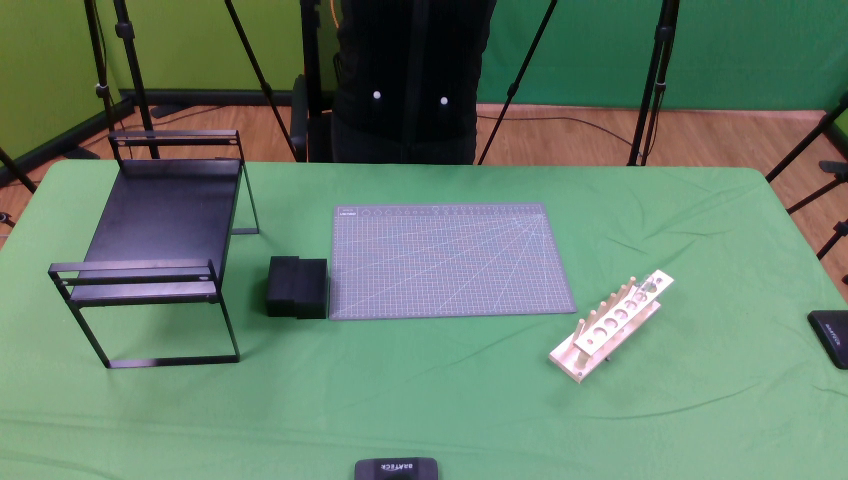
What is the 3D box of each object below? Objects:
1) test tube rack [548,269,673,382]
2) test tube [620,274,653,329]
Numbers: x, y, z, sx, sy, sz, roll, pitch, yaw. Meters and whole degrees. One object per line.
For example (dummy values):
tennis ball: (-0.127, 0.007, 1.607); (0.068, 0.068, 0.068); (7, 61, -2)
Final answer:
test tube rack: (0.325, 0.134, 1.047); (0.242, 0.085, 0.066); (-32, 56, -30)
test tube: (0.349, 0.105, 1.008); (0.017, 0.151, 0.017); (2, 51, -2)
